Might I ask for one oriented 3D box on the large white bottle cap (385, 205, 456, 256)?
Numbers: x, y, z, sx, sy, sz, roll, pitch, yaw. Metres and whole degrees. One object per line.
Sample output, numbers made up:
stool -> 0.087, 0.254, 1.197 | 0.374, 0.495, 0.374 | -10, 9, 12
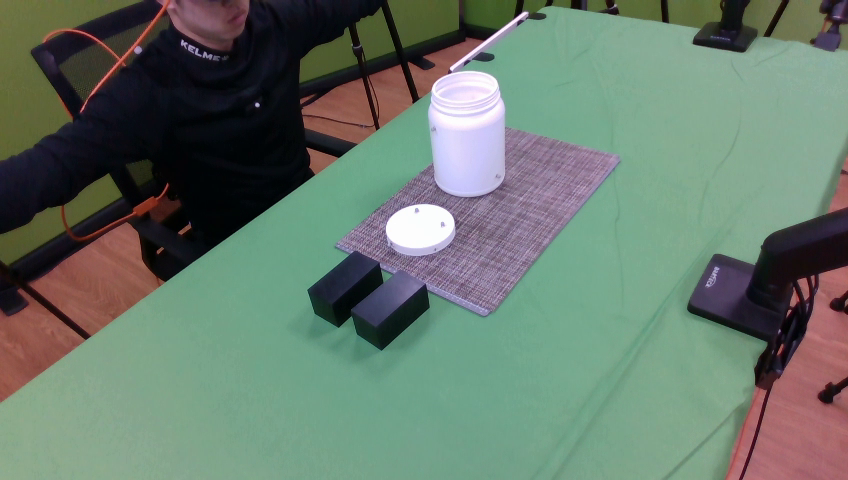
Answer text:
large white bottle cap -> -0.006, -0.018, 0.987 | 0.115, 0.018, 0.114 | -4, 40, 4

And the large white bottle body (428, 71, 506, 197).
large white bottle body -> 0.075, -0.181, 1.038 | 0.130, 0.185, 0.130 | -4, 41, 4
